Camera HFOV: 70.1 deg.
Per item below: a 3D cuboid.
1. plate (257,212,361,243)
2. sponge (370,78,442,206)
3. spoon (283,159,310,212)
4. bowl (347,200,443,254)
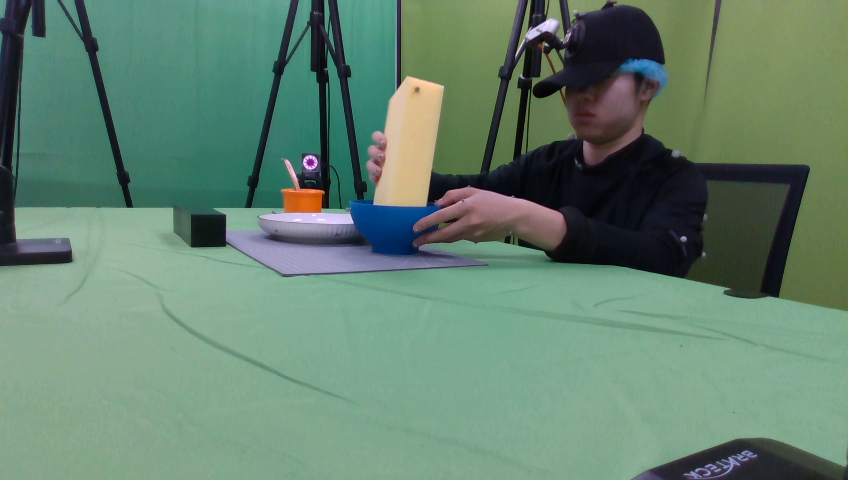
[{"bbox_3d":[-0.189,-0.023,1.072,0.209,0.038,0.209,3,7,0],"label":"plate"},{"bbox_3d":[-0.032,-0.131,0.944,0.061,0.206,0.118,10,-6,-18],"label":"sponge"},{"bbox_3d":[-0.279,-0.111,1.324,0.042,0.193,0.021,3,-39,-35],"label":"spoon"},{"bbox_3d":[-0.047,-0.020,0.945,0.151,0.077,0.151,3,6,0],"label":"bowl"}]
